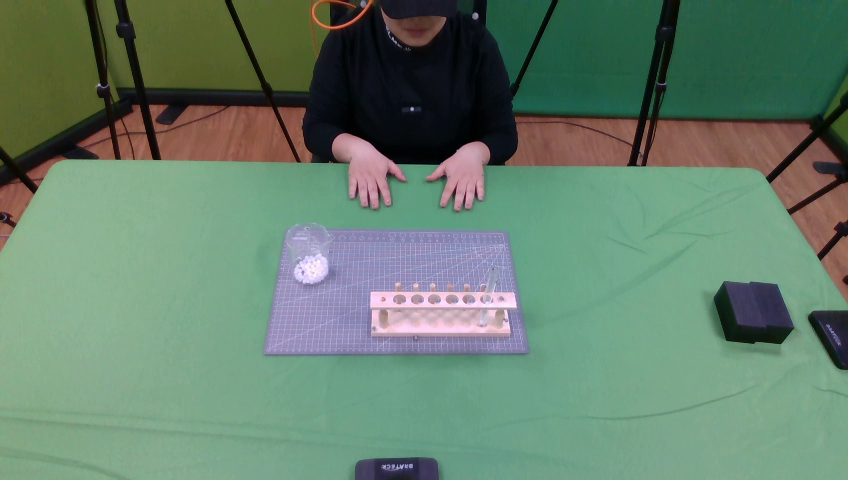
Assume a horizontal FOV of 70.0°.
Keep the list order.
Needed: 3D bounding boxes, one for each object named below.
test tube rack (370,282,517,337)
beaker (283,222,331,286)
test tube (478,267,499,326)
[{"bbox_3d":[0.030,0.116,1.042,0.242,0.085,0.066,1,46,-4],"label":"test tube rack"},{"bbox_3d":[-0.208,0.028,1.098,0.084,0.101,0.073,2,46,-4],"label":"beaker"},{"bbox_3d":[0.105,0.096,0.997,0.017,0.151,0.017,2,49,-2],"label":"test tube"}]
